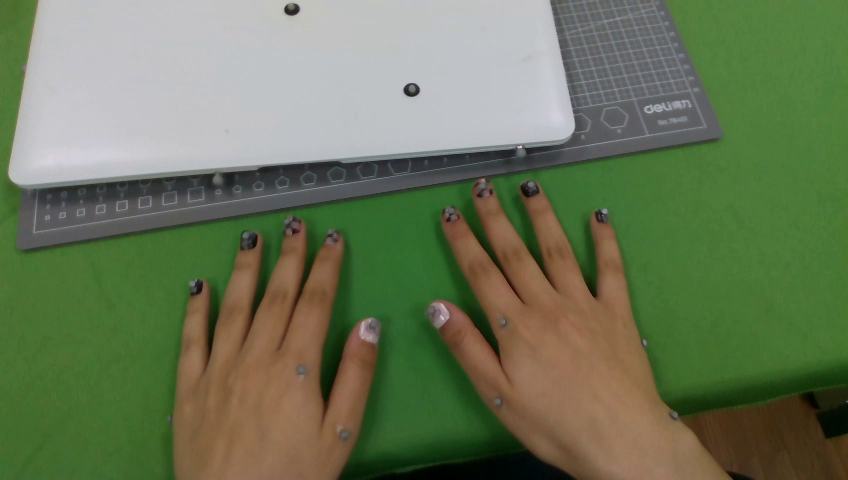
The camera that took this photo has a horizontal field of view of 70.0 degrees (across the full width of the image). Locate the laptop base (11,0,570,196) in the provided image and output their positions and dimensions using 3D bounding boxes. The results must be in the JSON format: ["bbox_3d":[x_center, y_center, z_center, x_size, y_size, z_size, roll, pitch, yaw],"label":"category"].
[{"bbox_3d":[-0.092,-0.148,0.429,0.355,0.023,0.233,-6,69,-3],"label":"laptop base"}]

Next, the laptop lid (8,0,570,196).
[{"bbox_3d":[-0.092,-0.150,0.417,0.357,0.013,0.240,-4,68,-2],"label":"laptop lid"}]
